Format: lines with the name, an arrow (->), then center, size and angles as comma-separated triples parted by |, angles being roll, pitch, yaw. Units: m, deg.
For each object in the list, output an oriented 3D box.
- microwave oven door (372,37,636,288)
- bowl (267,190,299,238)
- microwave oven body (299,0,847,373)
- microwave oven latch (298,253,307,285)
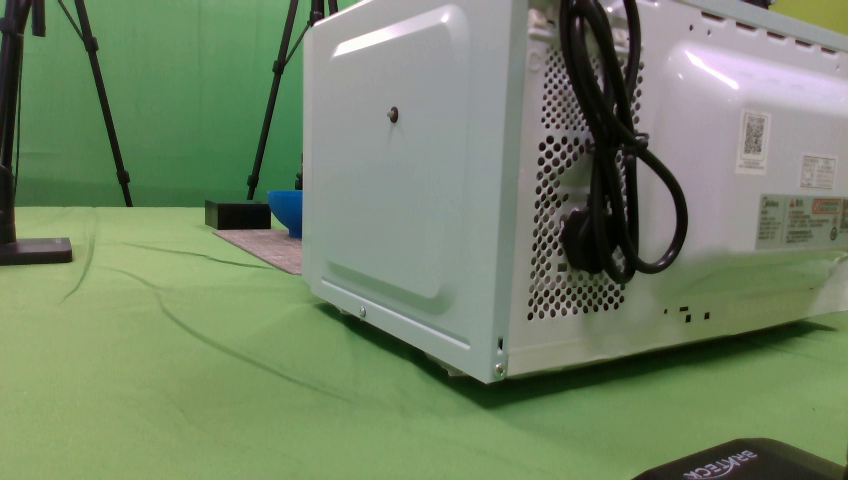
microwave oven door -> 0.110, -0.080, 0.686 | 0.358, 0.243, 0.039 | -2, 9, -33
bowl -> -0.202, -0.046, 1.070 | 0.151, 0.077, 0.151 | 3, 7, 0
microwave oven body -> 0.151, -0.055, 0.543 | 0.444, 0.260, 0.324 | -2, 7, -33
microwave oven latch -> -0.081, 0.027, 0.583 | 0.079, 0.029, 0.030 | -2, 7, -33
